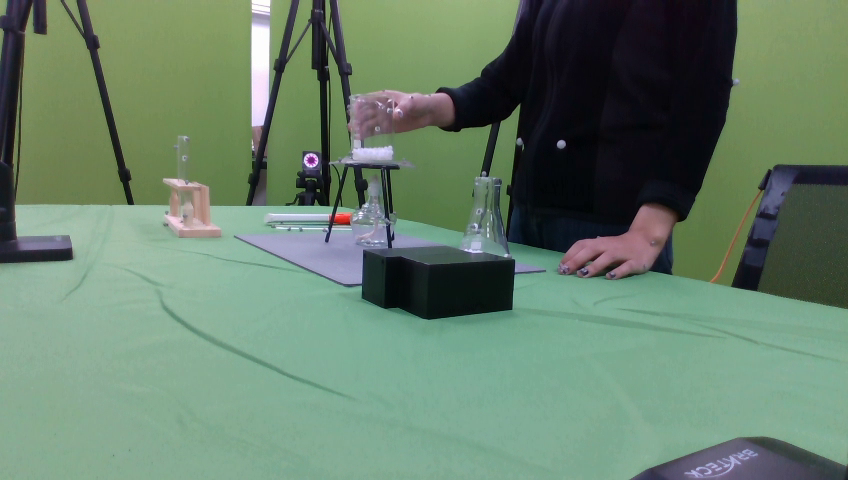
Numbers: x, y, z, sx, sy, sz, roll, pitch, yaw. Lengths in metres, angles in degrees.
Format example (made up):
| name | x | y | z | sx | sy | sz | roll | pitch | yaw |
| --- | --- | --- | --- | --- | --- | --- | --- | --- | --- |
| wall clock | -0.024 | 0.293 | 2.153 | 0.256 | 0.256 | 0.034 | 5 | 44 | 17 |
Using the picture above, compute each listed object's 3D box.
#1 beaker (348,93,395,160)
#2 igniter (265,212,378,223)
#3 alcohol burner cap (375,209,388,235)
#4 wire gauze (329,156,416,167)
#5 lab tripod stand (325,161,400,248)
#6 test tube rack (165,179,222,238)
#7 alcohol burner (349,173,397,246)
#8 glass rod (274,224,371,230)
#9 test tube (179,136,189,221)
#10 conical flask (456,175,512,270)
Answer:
| name | x | y | z | sx | sy | sz | roll | pitch | yaw |
| --- | --- | --- | --- | --- | --- | --- | --- | --- | --- |
| beaker | -0.081 | -0.178 | 0.963 | 0.074 | 0.100 | 0.084 | 3 | 7 | 21 |
| igniter | -0.195 | -0.048 | 1.285 | 0.278 | 0.025 | 0.057 | -2 | -2 | -30 |
| alcohol burner cap | -0.076 | -0.035 | 1.145 | 0.034 | 0.048 | 0.034 | 2 | 7 | 0 |
| wire gauze | -0.079 | -0.126 | 0.972 | 0.121 | 0.011 | 0.125 | 4 | 8 | 5 |
| lab tripod stand | -0.083 | -0.060 | 0.977 | 0.148 | 0.131 | 0.148 | 4 | 8 | 0 |
| test tube rack | -0.423 | -0.062 | 1.098 | 0.067 | 0.085 | 0.241 | -2 | 9 | -28 |
| alcohol burner | -0.081 | -0.050 | 0.982 | 0.078 | 0.119 | 0.078 | 4 | 8 | 0 |
| glass rod | -0.193 | -0.024 | 1.177 | 0.201 | 0.008 | 0.008 | 1 | 6 | -31 |
| test tube | -0.425 | -0.108 | 1.070 | 0.017 | 0.150 | 0.017 | 4 | 9 | 0 |
| conical flask | 0.083 | -0.025 | 0.801 | 0.075 | 0.122 | 0.075 | 2 | 7 | 0 |
